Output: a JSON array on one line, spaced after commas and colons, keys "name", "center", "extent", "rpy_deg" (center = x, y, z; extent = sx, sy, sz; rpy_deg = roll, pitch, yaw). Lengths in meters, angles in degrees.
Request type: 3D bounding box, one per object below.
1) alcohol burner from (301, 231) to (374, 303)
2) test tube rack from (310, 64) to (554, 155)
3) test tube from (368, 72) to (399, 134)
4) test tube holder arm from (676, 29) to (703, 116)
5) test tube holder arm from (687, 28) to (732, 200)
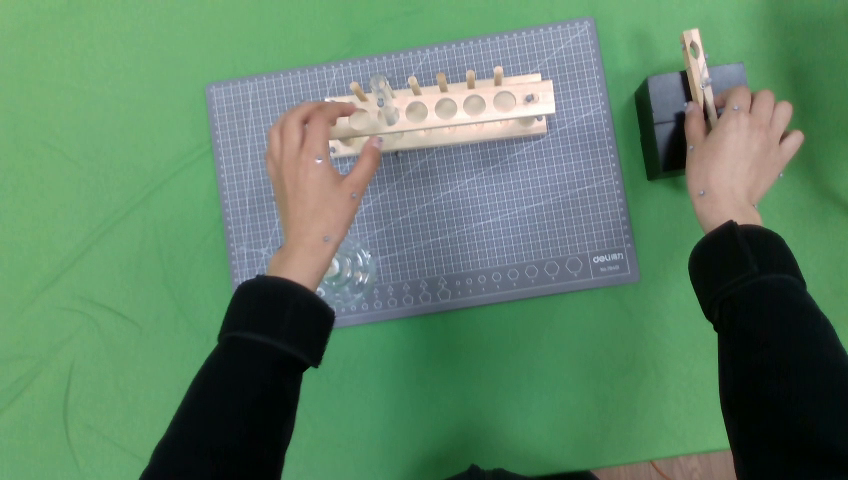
[{"name": "alcohol burner", "center": [-0.092, 0.027, 0.624], "extent": [0.078, 0.119, 0.077], "rpy_deg": [0, 85, 2]}, {"name": "test tube rack", "center": [0.008, -0.144, 0.642], "extent": [0.242, 0.085, 0.066], "rpy_deg": [-6, 86, 3]}, {"name": "test tube", "center": [-0.037, -0.131, 0.595], "extent": [0.017, 0.150, 0.017], "rpy_deg": [0, 85, 3]}, {"name": "test tube holder arm", "center": [0.273, -0.170, 0.617], "extent": [0.010, 0.015, 0.087], "rpy_deg": [-12, 87, 9]}, {"name": "test tube holder arm", "center": [0.288, -0.127, 0.614], "extent": [0.013, 0.015, 0.178], "rpy_deg": [-14, 87, 9]}]
